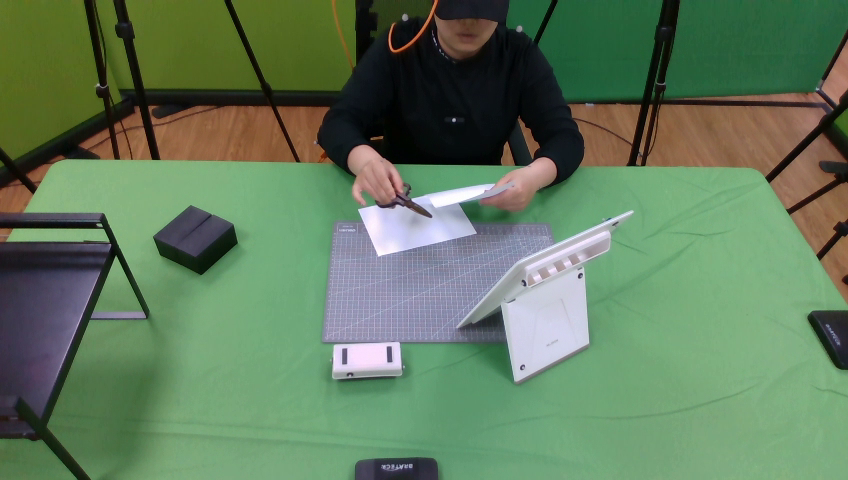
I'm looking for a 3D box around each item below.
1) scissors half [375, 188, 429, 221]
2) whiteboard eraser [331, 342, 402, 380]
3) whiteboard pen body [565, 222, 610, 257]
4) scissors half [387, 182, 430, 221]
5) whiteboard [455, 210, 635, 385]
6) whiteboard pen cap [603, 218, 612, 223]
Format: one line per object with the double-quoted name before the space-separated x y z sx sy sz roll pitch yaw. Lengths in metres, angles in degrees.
"scissors half" -0.041 -0.062 1.113 0.040 0.013 0.174 -40 37 -17
"whiteboard eraser" -0.094 0.198 0.986 0.113 0.042 0.055 -2 44 -6
"whiteboard pen body" 0.335 -0.004 1.229 0.141 0.017 0.017 -33 56 -29
"scissors half" -0.025 -0.072 1.117 0.040 0.013 0.174 -27 35 -9
"whiteboard" 0.211 0.111 0.955 0.217 0.306 0.143 -21 71 -23
"whiteboard pen cap" 0.378 -0.031 1.255 0.033 0.018 0.018 -34 57 -30
